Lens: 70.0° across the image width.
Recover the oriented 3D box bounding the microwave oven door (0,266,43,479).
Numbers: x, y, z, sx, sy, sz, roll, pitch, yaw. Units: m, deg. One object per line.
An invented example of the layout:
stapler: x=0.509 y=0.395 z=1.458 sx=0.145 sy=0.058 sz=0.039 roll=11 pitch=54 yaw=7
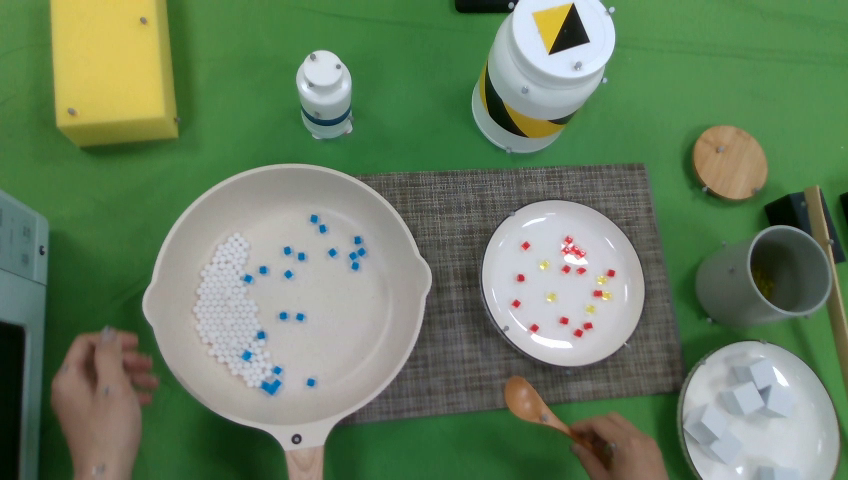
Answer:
microwave oven door: x=-0.405 y=0.189 z=0.514 sx=0.039 sy=0.244 sz=0.354 roll=-3 pitch=77 yaw=-8

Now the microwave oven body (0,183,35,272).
microwave oven body: x=-0.553 y=0.156 z=0.506 sx=0.327 sy=0.261 sz=0.439 roll=-3 pitch=78 yaw=-9

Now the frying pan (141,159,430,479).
frying pan: x=-0.136 y=0.152 z=0.648 sx=0.307 sy=0.103 sz=0.484 roll=-4 pitch=69 yaw=-7

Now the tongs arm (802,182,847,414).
tongs arm: x=0.535 y=0.114 z=0.761 sx=0.051 sy=0.026 sz=0.384 roll=-8 pitch=88 yaw=-12

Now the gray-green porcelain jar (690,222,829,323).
gray-green porcelain jar: x=0.400 y=0.045 z=0.741 sx=0.106 sy=0.127 sz=0.105 roll=2 pitch=76 yaw=-7

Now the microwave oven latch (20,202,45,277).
microwave oven latch: x=-0.433 y=0.000 z=0.660 sx=0.030 sy=0.029 sz=0.079 roll=-2 pitch=78 yaw=-9

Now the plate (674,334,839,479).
plate: x=0.403 y=0.221 z=0.746 sx=0.208 sy=0.039 sz=0.206 roll=2 pitch=76 yaw=-7

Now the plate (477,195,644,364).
plate: x=0.165 y=0.048 z=0.749 sx=0.209 sy=0.038 sz=0.208 roll=2 pitch=77 yaw=-7

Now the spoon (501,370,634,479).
spoon: x=0.158 y=0.209 z=0.664 sx=0.194 sy=0.022 sz=0.041 roll=37 pitch=53 yaw=-4

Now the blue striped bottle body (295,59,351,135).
blue striped bottle body: x=-0.119 y=-0.177 z=0.723 sx=0.063 sy=0.121 sz=0.063 roll=2 pitch=76 yaw=-7

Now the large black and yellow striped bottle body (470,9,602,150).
large black and yellow striped bottle body: x=0.135 y=-0.202 z=0.733 sx=0.131 sy=0.184 sz=0.130 roll=2 pitch=76 yaw=-7

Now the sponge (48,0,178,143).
sponge: x=-0.374 y=-0.228 z=0.729 sx=0.118 sy=0.061 sz=0.206 roll=-9 pitch=79 yaw=-10

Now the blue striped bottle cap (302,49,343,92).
blue striped bottle cap: x=-0.113 y=-0.189 z=0.673 sx=0.044 sy=0.021 sz=0.044 roll=2 pitch=74 yaw=-6

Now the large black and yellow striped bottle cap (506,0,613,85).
large black and yellow striped bottle cap: x=0.146 y=-0.222 z=0.650 sx=0.115 sy=0.019 sz=0.114 roll=2 pitch=75 yaw=-7

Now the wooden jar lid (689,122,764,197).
wooden jar lid: x=0.414 y=-0.109 z=0.835 sx=0.108 sy=0.021 sz=0.108 roll=2 pitch=78 yaw=-7
